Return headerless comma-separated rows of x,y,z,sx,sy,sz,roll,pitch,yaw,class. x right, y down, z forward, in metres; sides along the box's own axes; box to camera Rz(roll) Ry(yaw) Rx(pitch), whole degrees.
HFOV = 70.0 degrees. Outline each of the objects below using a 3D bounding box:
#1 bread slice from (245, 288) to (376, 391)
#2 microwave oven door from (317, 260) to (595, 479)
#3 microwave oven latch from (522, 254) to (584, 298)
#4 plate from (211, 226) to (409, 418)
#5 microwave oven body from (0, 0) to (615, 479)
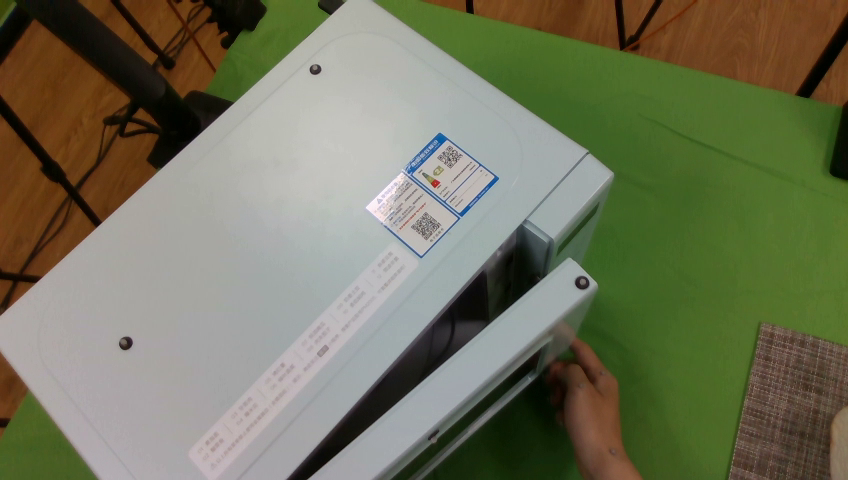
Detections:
-0.121,0.111,0.646,0.134,0.018,0.106,-7,66,-8,bread slice
-0.003,0.171,0.535,0.355,0.245,0.039,-39,69,-8,microwave oven door
0.144,0.038,0.677,0.030,0.030,0.079,42,80,19,microwave oven latch
-0.118,0.086,0.648,0.207,0.039,0.206,-1,67,2,plate
-0.095,0.040,0.601,0.324,0.262,0.441,40,79,18,microwave oven body
